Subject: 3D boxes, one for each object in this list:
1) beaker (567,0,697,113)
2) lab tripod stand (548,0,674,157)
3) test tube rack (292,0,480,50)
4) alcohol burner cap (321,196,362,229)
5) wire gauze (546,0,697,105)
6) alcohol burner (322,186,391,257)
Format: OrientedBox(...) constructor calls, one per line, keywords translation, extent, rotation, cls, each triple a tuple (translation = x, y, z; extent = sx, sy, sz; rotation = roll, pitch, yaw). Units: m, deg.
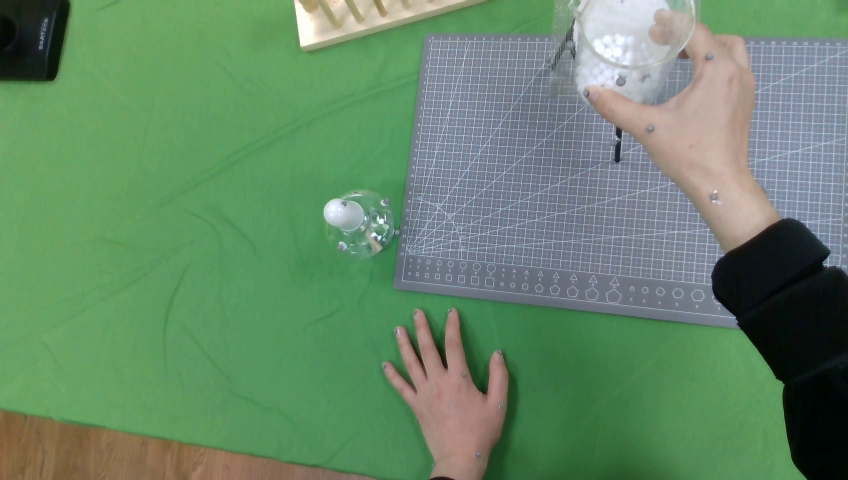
OrientedBox(translation=(0.143, -0.141, 0.441), extent=(0.083, 0.101, 0.074), rotation=(19, 85, 12), cls="beaker")
OrientedBox(translation=(0.185, -0.167, 0.585), extent=(0.148, 0.132, 0.148), rotation=(-1, 83, 11), cls="lab tripod stand")
OrientedBox(translation=(-0.047, -0.294, 0.682), extent=(0.242, 0.085, 0.066), rotation=(-12, 79, 11), cls="test tube rack")
OrientedBox(translation=(-0.085, -0.029, 0.604), extent=(0.034, 0.048, 0.034), rotation=(-1, 85, 13), cls="alcohol burner cap")
OrientedBox(translation=(0.170, -0.177, 0.519), extent=(0.125, 0.011, 0.121), rotation=(5, 85, 14), cls="wire gauze")
OrientedBox(translation=(-0.076, -0.023, 0.638), extent=(0.078, 0.120, 0.077), rotation=(-2, 80, 12), cls="alcohol burner")
